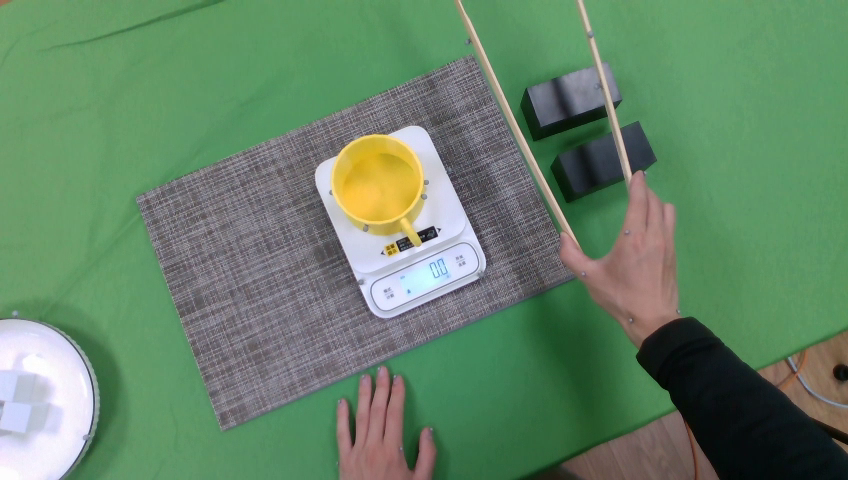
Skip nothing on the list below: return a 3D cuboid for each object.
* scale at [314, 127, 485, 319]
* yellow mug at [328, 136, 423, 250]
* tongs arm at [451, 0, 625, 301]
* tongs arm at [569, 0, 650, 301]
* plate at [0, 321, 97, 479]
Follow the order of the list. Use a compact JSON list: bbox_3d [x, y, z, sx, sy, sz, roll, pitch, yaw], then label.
[{"bbox_3d":[-0.030,-0.022,0.711,0.149,0.031,0.200,-24,82,-2],"label":"scale"},{"bbox_3d":[-0.043,-0.044,0.667,0.100,0.064,0.130,-33,83,-5],"label":"yellow mug"},{"bbox_3d":[0.110,-0.104,0.637,0.028,0.028,0.387,-27,89,0],"label":"tongs arm"},{"bbox_3d":[0.172,-0.127,0.631,0.051,0.026,0.384,-18,90,4],"label":"tongs arm"},{"bbox_3d":[-0.472,0.197,0.690,0.208,0.039,0.207,0,81,1],"label":"plate"}]
